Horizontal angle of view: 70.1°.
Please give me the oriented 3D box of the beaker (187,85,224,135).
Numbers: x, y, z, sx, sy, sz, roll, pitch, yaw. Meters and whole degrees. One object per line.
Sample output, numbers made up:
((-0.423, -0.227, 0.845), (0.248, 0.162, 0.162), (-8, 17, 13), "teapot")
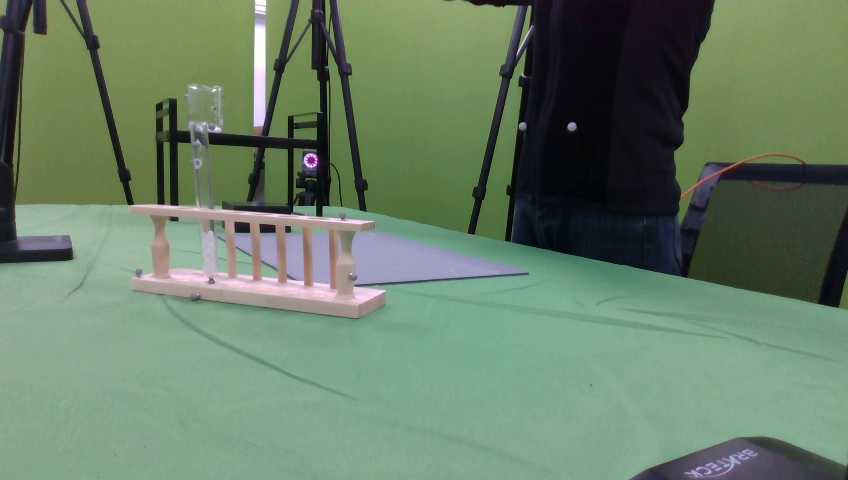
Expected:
((-0.466, -0.276, 1.296), (0.074, 0.100, 0.083), (-3, 10, -35), "beaker")

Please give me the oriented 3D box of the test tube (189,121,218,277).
((-0.210, -0.037, 0.576), (0.017, 0.150, 0.017), (1, 14, 0), "test tube")

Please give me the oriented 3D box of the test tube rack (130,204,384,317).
((-0.162, 0.013, 0.589), (0.242, 0.085, 0.067), (4, 8, 17), "test tube rack")
